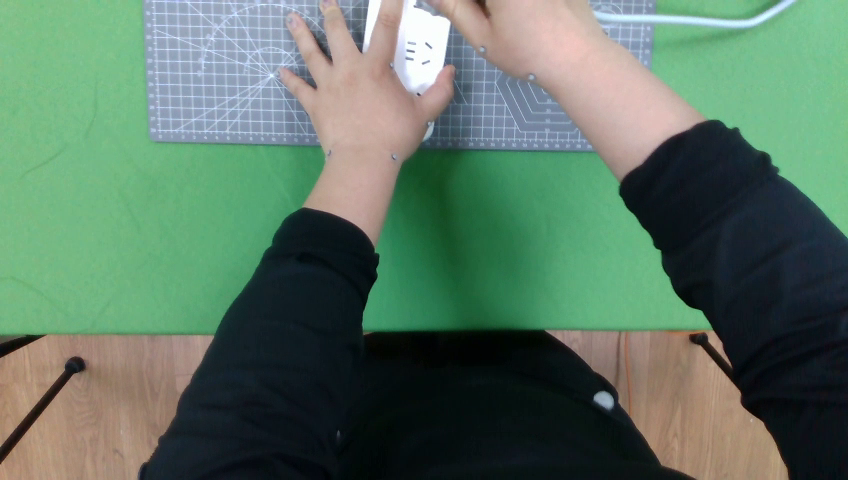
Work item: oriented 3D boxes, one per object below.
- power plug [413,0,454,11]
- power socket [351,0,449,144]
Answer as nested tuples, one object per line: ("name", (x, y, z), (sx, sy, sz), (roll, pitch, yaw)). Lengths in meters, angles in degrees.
("power plug", (0.023, -0.172, 0.427), (0.073, 0.052, 0.035), (24, 87, -14))
("power socket", (-0.015, -0.196, 0.519), (0.072, 0.032, 0.227), (8, 100, -5))
